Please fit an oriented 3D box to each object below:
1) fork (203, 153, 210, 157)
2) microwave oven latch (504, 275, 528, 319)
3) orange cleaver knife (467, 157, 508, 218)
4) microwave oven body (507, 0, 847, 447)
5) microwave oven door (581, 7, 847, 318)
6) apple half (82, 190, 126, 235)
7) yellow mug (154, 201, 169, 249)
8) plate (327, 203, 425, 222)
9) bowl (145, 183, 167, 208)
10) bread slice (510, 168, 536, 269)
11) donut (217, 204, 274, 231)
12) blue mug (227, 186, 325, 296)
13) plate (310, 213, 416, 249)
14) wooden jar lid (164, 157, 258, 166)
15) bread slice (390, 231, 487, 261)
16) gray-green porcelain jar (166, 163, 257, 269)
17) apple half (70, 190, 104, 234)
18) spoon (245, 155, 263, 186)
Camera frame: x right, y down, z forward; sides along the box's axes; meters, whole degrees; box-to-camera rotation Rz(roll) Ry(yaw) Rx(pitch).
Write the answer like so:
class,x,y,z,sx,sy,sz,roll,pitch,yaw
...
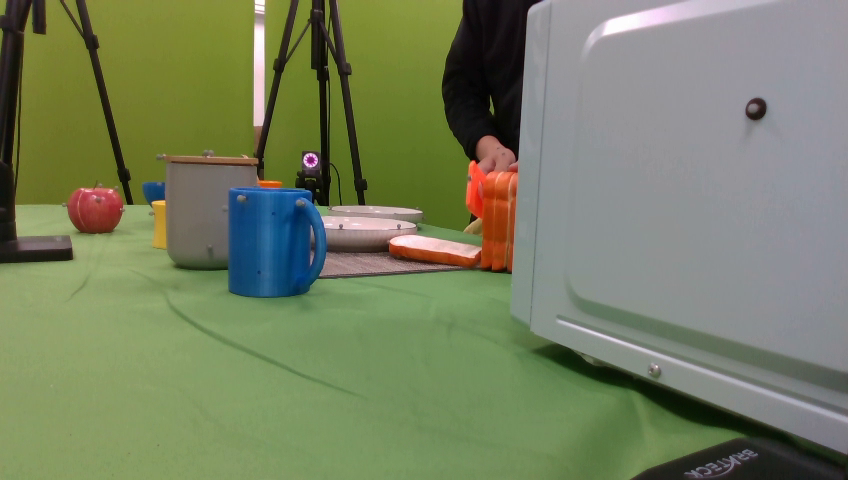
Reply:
class,x,y,z,sx,sy,sz,roll,pitch,yaw
fork,-0.480,-0.136,1.412,0.028,0.018,0.207,0,-34,-1
microwave oven latch,0.100,0.042,0.471,0.079,0.029,0.030,-1,7,-28
orange cleaver knife,0.093,-0.070,0.870,0.012,0.077,0.212,-2,-1,20
microwave oven body,0.331,-0.042,0.425,0.444,0.260,0.324,-2,8,-31
microwave oven door,0.295,-0.067,0.569,0.358,0.243,0.039,-3,8,-31
apple half,-0.516,-0.046,0.994,0.032,0.081,0.081,0,6,26
yellow mug,-0.337,-0.022,0.899,0.130,0.064,0.100,8,9,34
plate,-0.102,-0.053,1.299,0.209,0.038,0.209,2,8,0
bowl,-0.459,-0.068,1.175,0.151,0.077,0.151,3,7,0
bread slice,0.135,-0.031,0.822,0.018,0.134,0.107,1,9,19
donut,-0.317,-0.038,1.080,0.099,0.048,0.099,3,7,0
blue mug,-0.146,0.000,0.618,0.116,0.106,0.083,7,9,32
plate,-0.116,-0.014,0.967,0.208,0.039,0.207,2,7,0
wooden jar lid,-0.261,-0.093,0.746,0.108,0.020,0.108,0,9,0
bread slice,0.019,0.008,0.864,0.131,0.019,0.105,7,10,14
gray-green porcelain jar,-0.263,-0.031,0.754,0.106,0.126,0.106,2,7,0
apple half,-0.552,-0.047,1.009,0.053,0.074,0.081,-1,9,26
spoon,-0.421,-0.150,1.540,0.042,0.021,0.193,-5,55,-37
